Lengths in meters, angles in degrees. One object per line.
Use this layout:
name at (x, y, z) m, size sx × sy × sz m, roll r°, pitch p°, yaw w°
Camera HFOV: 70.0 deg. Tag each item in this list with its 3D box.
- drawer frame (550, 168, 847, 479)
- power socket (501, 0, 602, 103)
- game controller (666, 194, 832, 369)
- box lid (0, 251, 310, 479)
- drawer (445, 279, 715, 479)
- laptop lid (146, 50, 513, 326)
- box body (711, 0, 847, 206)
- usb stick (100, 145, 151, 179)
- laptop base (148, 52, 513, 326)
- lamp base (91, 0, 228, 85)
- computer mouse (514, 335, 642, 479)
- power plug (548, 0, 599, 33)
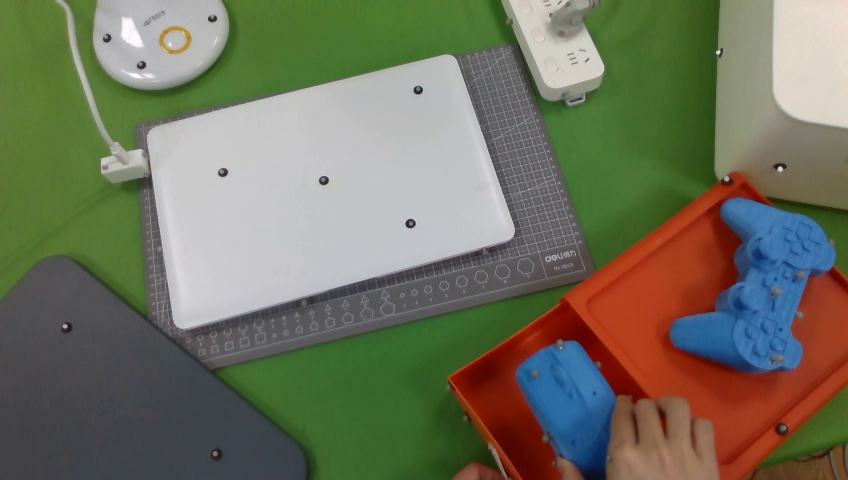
drawer frame at (0.260, 0.074, 0.554) m, size 0.213 × 0.083 × 0.200 m, roll -35°, pitch 72°, yaw -10°
power socket at (0.138, -0.262, 0.707) m, size 0.072 × 0.033 × 0.225 m, roll -15°, pitch 70°, yaw -5°
game controller at (0.280, 0.035, 0.513) m, size 0.097 × 0.052 × 0.154 m, roll 28°, pitch 74°, yaw 8°
box lid at (-0.319, 0.198, 0.566) m, size 0.370 × 0.015 × 0.262 m, roll 34°, pitch 75°, yaw 13°
drawer at (0.156, 0.145, 0.534) m, size 0.212 × 0.074 × 0.193 m, roll -32°, pitch 72°, yaw -10°
laptop lid at (-0.106, -0.065, 0.638) m, size 0.357 × 0.013 × 0.240 m, roll -14°, pitch 73°, yaw -3°
box body at (0.445, -0.220, 0.611) m, size 0.254 × 0.161 × 0.362 m, roll 10°, pitch 71°, yaw 5°
usb stick at (-0.313, -0.085, 0.651) m, size 0.059 × 0.027 × 0.021 m, roll -11°, pitch 64°, yaw -5°
laptop base at (-0.106, -0.063, 0.650) m, size 0.354 × 0.023 × 0.234 m, roll -15°, pitch 74°, yaw -4°
lamp base at (-0.328, -0.287, 0.653) m, size 0.178 × 0.181 × 0.160 m, roll 34°, pitch 74°, yaw 16°
computer mouse at (0.123, 0.135, 0.488) m, size 0.063 × 0.041 × 0.116 m, roll -24°, pitch 70°, yaw -8°
power plug at (0.175, -0.249, 0.676) m, size 0.072 × 0.053 × 0.035 m, roll -5°, pitch 68°, yaw -2°
